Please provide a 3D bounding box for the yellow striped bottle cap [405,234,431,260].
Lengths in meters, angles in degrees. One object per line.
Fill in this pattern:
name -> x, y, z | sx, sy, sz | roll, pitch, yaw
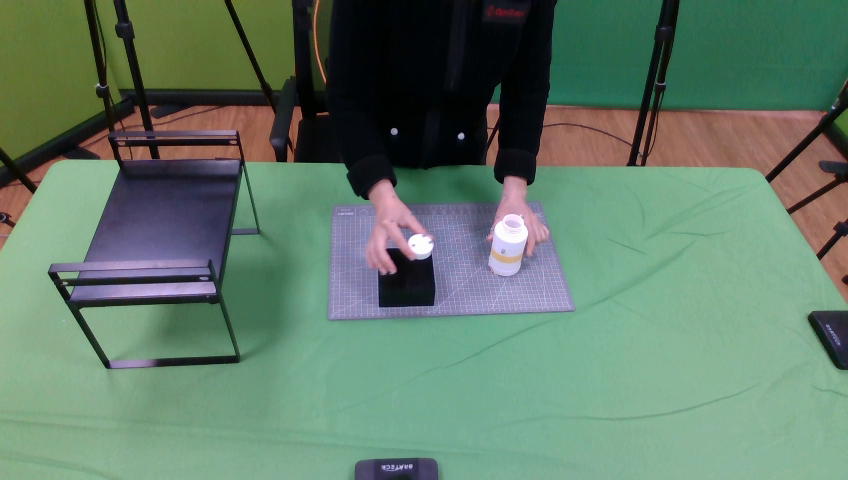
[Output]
yellow striped bottle cap -> -0.010, 0.012, 1.060 | 0.044, 0.019, 0.044 | 8, 53, -10

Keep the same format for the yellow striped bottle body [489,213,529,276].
yellow striped bottle body -> 0.159, 0.005, 1.129 | 0.063, 0.121, 0.062 | 2, 46, -1
